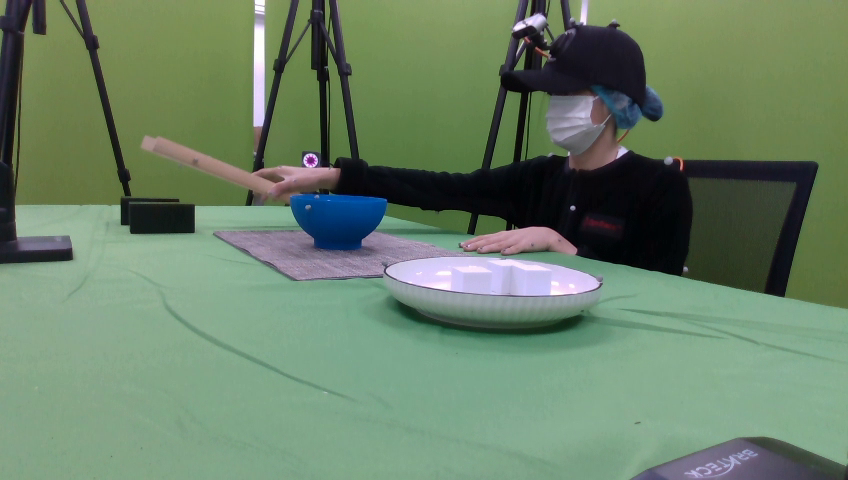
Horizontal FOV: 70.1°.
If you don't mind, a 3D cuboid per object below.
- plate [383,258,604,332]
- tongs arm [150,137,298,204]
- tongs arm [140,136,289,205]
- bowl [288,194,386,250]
[{"bbox_3d":[0.064,0.051,0.582,0.209,0.038,0.209,3,7,0],"label":"plate"},{"bbox_3d":[-0.307,-0.102,1.111,0.390,0.028,0.028,22,-9,-41],"label":"tongs arm"},{"bbox_3d":[-0.345,-0.113,1.171,0.387,0.026,0.050,22,-5,-30],"label":"tongs arm"},{"bbox_3d":[-0.135,-0.028,0.936,0.151,0.077,0.151,3,7,0],"label":"bowl"}]
